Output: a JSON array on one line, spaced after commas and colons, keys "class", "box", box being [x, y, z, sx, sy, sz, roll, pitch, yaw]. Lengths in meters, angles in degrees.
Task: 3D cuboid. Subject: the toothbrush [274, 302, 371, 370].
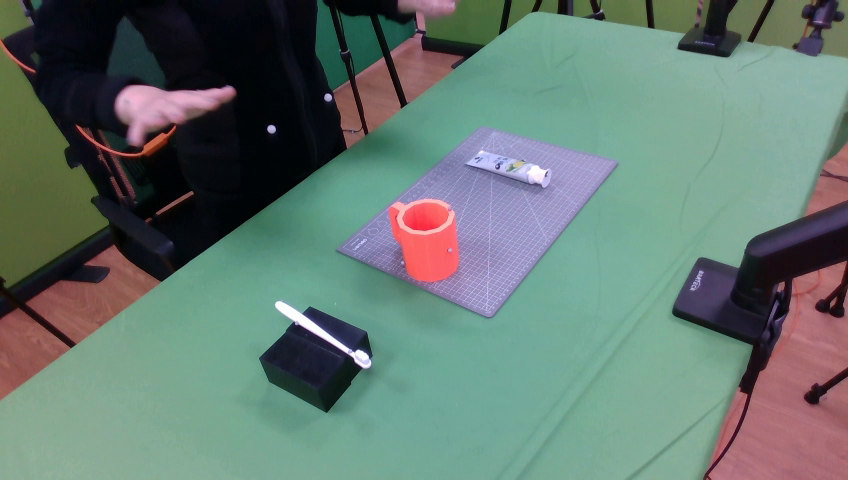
[{"class": "toothbrush", "box": [-0.136, 0.120, 0.783, 0.180, 0.017, 0.014, 25, 53, 32]}]

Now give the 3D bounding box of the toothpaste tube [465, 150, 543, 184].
[{"class": "toothpaste tube", "box": [0.154, -0.135, 1.108, 0.163, 0.034, 0.055, 23, 43, 36]}]

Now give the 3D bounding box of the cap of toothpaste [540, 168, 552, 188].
[{"class": "cap of toothpaste", "box": [0.213, -0.109, 1.059, 0.011, 0.037, 0.037, 19, 47, 28]}]

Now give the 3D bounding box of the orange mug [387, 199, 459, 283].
[{"class": "orange mug", "box": [-0.006, -0.007, 0.923, 0.125, 0.101, 0.084, 33, 54, 32]}]
